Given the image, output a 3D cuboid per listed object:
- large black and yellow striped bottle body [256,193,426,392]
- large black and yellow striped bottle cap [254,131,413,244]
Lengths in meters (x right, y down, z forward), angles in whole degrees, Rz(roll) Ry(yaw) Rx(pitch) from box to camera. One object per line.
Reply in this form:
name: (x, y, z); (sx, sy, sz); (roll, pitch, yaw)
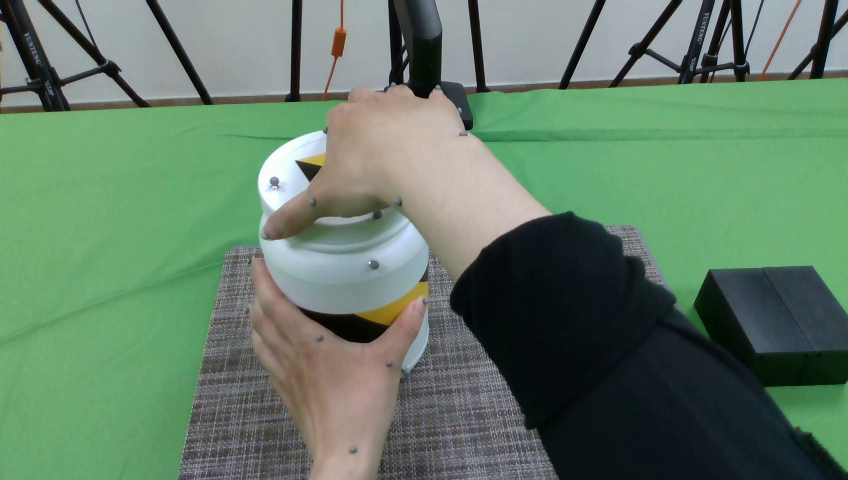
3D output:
large black and yellow striped bottle body: (-0.063, 0.023, 0.499); (0.131, 0.185, 0.129); (0, 42, 0)
large black and yellow striped bottle cap: (-0.065, -0.042, 0.441); (0.115, 0.019, 0.114); (1, 44, -1)
